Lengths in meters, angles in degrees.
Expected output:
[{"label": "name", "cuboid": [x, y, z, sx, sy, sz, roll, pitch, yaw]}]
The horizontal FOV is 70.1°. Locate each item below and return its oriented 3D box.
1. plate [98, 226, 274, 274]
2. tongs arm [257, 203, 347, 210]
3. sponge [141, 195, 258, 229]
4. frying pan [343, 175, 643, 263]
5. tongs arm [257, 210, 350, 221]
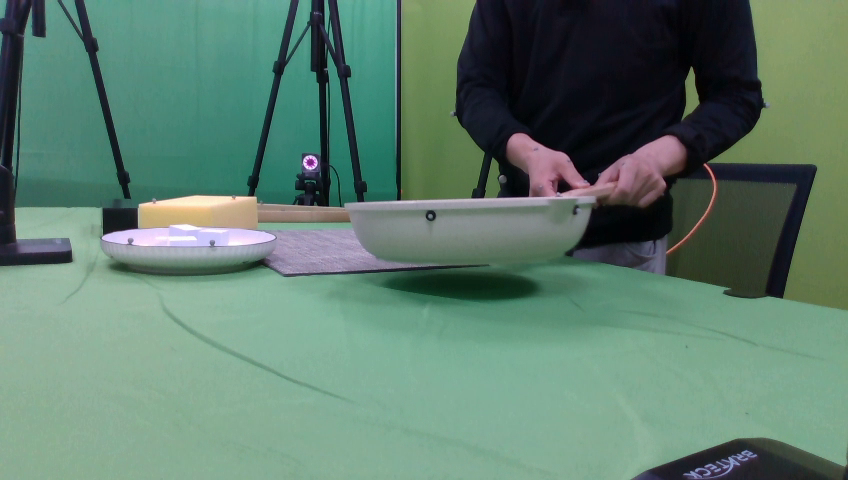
[{"label": "plate", "cuboid": [-0.301, 0.012, 0.778, 0.208, 0.039, 0.207, 2, 7, 0]}, {"label": "tongs arm", "cuboid": [-0.306, -0.070, 1.430, 0.386, 0.026, 0.050, 1, 8, -15]}, {"label": "sponge", "cuboid": [-0.380, -0.040, 1.046, 0.118, 0.061, 0.207, 1, 8, 3]}, {"label": "frying pan", "cuboid": [0.135, -0.044, 0.778, 0.490, 0.102, 0.305, -15, 12, -35]}, {"label": "tongs arm", "cuboid": [-0.280, -0.056, 1.355, 0.389, 0.028, 0.028, -1, 6, -28]}]
